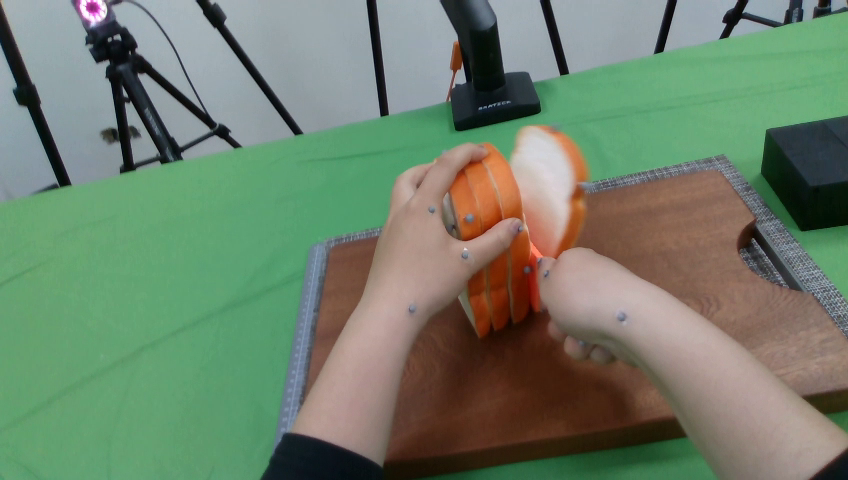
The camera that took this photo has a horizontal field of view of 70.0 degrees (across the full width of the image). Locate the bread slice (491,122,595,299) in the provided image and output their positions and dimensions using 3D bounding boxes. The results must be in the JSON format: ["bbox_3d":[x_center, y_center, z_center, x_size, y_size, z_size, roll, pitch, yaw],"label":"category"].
[{"bbox_3d":[0.101,-0.031,0.513,0.019,0.132,0.103,-1,32,-24],"label":"bread slice"}]

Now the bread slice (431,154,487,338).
[{"bbox_3d":[0.028,-0.003,0.501,0.018,0.135,0.106,-14,36,-7],"label":"bread slice"}]

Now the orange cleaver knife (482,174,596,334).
[{"bbox_3d":[0.084,0.018,0.494,0.012,0.078,0.209,-13,35,-9],"label":"orange cleaver knife"}]
